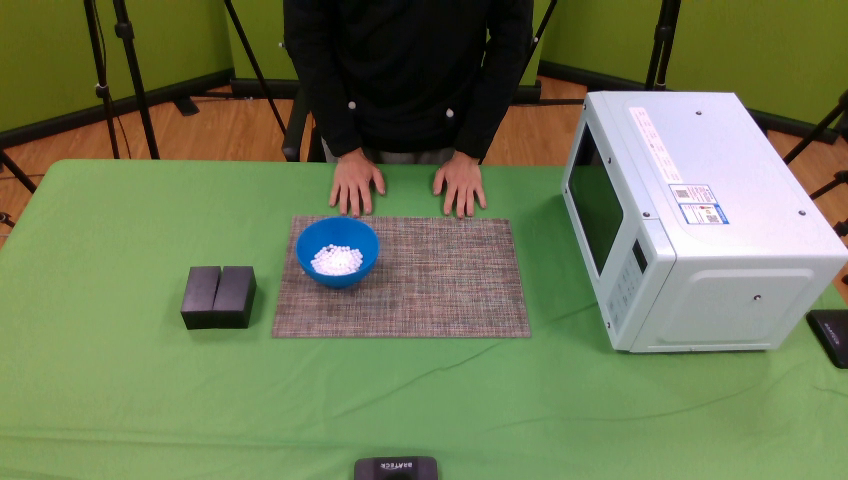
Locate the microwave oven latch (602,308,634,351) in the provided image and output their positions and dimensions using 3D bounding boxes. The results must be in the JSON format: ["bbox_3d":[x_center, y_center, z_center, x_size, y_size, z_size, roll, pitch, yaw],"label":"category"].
[{"bbox_3d":[0.332,0.153,1.043,0.030,0.029,0.078,-1,45,-4],"label":"microwave oven latch"}]

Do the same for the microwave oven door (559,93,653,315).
[{"bbox_3d":[0.327,-0.074,1.123,0.039,0.245,0.353,-1,46,-5],"label":"microwave oven door"}]

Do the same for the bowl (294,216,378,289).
[{"bbox_3d":[-0.158,0.036,1.110,0.151,0.077,0.150,3,45,-2],"label":"bowl"}]

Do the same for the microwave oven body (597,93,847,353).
[{"bbox_3d":[0.475,-0.041,1.109,0.326,0.261,0.438,-1,45,-4],"label":"microwave oven body"}]
